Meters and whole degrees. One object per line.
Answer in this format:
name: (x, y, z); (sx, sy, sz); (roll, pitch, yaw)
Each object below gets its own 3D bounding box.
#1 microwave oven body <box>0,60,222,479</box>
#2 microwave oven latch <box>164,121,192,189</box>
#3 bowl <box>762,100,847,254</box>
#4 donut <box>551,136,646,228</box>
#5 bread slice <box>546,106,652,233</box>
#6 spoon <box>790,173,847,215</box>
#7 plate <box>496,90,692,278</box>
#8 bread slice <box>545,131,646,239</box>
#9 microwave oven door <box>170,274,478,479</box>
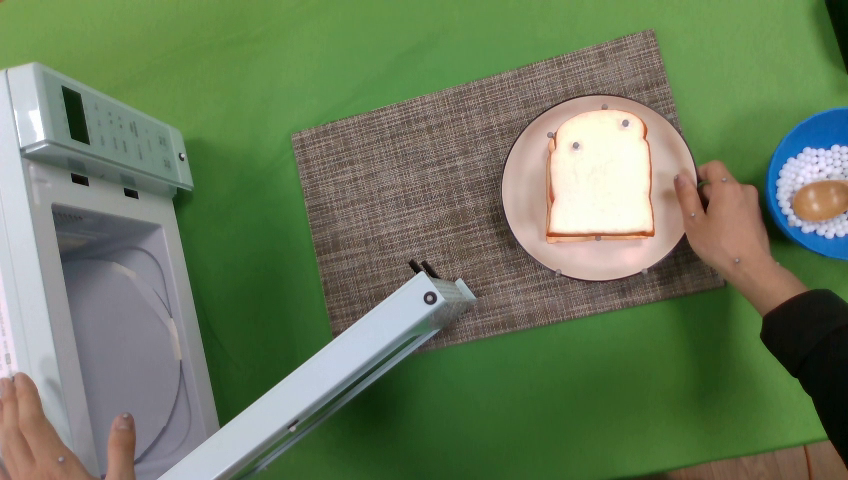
microwave oven body: (-0.430, 0.096, 0.662); (0.326, 0.261, 0.440); (-16, 84, 8)
microwave oven latch: (-0.315, -0.105, 0.755); (0.030, 0.029, 0.079); (-16, 84, 8)
bowl: (0.415, -0.057, 0.616); (0.151, 0.077, 0.151); (-1, 85, 10)
donut: (0.184, -0.061, 0.643); (0.099, 0.048, 0.099); (0, 87, 4)
bread slice: (0.176, -0.072, 0.619); (0.104, 0.019, 0.131); (-2, 83, 16)
spoon: (0.457, -0.067, 0.577); (0.193, 0.022, 0.041); (-20, 76, 30)
plate: (0.185, -0.060, 0.675); (0.207, 0.039, 0.207); (-1, 86, 10)
bread slice: (0.183, -0.067, 0.675); (0.107, 0.018, 0.134); (-5, 84, 9)
microwave oven door: (-0.107, 0.152, 0.595); (0.356, 0.245, 0.039); (-39, 79, 5)
